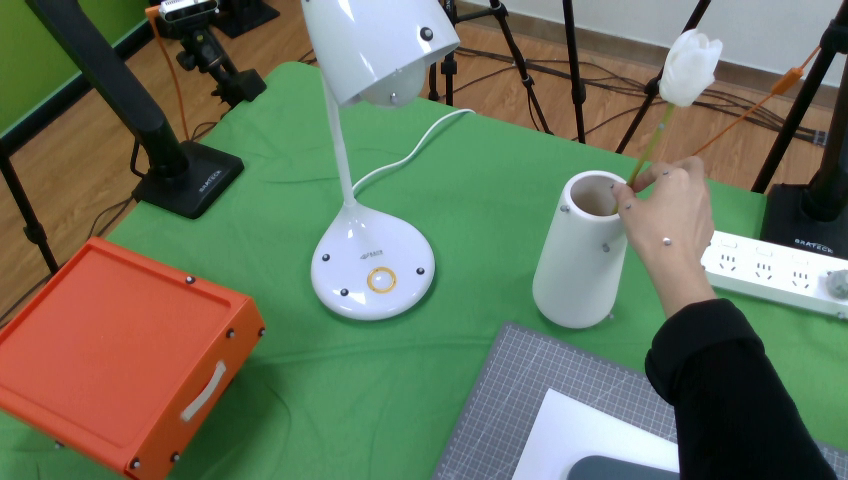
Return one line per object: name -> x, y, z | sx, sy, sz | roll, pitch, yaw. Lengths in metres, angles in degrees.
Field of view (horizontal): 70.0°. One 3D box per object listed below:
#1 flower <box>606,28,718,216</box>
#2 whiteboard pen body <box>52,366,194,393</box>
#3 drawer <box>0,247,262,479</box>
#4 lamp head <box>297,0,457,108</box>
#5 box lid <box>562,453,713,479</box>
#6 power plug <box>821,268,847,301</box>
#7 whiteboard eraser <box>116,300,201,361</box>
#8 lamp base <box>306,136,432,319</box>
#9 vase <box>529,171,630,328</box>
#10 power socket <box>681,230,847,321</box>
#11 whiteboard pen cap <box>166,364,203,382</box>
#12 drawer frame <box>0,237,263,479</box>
flower -> 0.192, -0.035, 0.606 | 0.038, 0.364, 0.043 | 10, 43, -2
whiteboard pen body -> -0.312, 0.144, 0.632 | 0.141, 0.017, 0.017 | -6, 52, -4
drawer -> -0.312, 0.119, 0.632 | 0.211, 0.074, 0.193 | 18, 56, 16
lamp head -> -0.050, -0.179, 0.479 | 0.112, 0.112, 0.123 | -33, 96, -21
box lid -> 0.232, 0.380, 0.509 | 0.263, 0.015, 0.368 | 10, 55, 10
power plug -> 0.477, 0.063, 0.701 | 0.035, 0.053, 0.072 | 24, 59, 20
whiteboard eraser -> -0.299, 0.105, 0.690 | 0.112, 0.042, 0.055 | -14, 57, 30
lamp base -> -0.080, -0.023, 0.725 | 0.161, 0.182, 0.177 | -26, 53, -17
vase -> 0.172, 0.015, 0.675 | 0.098, 0.202, 0.097 | -2, 51, 3
power socket -> 0.439, 0.043, 0.747 | 0.226, 0.033, 0.072 | 15, 56, 13
whiteboard pen cap -> -0.253, 0.141, 0.641 | 0.033, 0.018, 0.018 | -5, 52, -5
drawer frame -> -0.318, 0.121, 0.636 | 0.212, 0.083, 0.200 | 19, 57, 15
